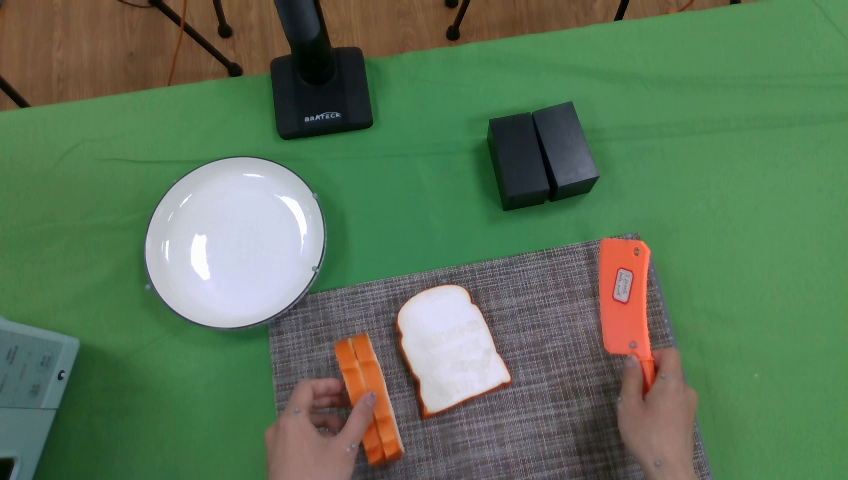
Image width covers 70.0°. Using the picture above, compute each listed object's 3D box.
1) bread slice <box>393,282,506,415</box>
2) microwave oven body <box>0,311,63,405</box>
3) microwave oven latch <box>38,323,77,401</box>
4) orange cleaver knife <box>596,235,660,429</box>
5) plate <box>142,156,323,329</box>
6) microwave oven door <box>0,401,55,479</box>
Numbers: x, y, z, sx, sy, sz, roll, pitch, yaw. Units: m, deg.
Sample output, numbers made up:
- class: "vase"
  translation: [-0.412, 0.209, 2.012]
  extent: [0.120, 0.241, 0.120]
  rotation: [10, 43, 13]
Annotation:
- class: "bread slice"
  translation: [0.025, 0.115, 0.683]
  extent: [0.107, 0.018, 0.134]
  rotation: [-17, 84, -9]
- class: "microwave oven body"
  translation: [-0.590, 0.243, 0.528]
  extent: [0.326, 0.261, 0.439]
  rotation: [11, 75, 4]
- class: "microwave oven latch"
  translation: [-0.406, 0.133, 0.657]
  extent: [0.030, 0.029, 0.079]
  rotation: [13, 75, 4]
- class: "orange cleaver knife"
  translation: [0.218, 0.094, 0.655]
  extent: [0.012, 0.077, 0.210]
  rotation: [3, 79, -30]
- class: "plate"
  translation: [-0.219, 0.003, 0.710]
  extent: [0.208, 0.039, 0.206]
  rotation: [0, 74, 0]
- class: "microwave oven door"
  translation: [-0.456, 0.309, 0.502]
  extent: [0.039, 0.245, 0.354]
  rotation: [11, 74, 5]
